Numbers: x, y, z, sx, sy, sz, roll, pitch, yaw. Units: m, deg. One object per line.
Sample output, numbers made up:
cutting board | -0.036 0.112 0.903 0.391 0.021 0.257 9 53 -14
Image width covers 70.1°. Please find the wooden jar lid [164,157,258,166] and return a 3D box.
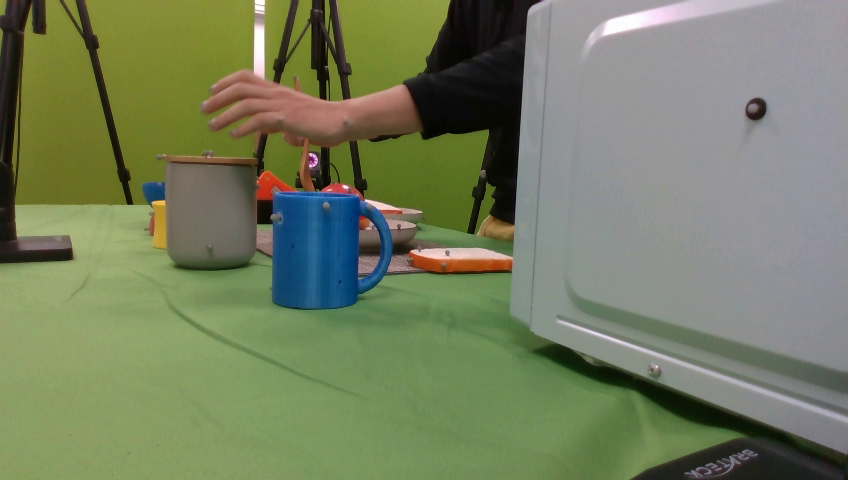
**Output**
wooden jar lid | -0.261 -0.093 0.746 0.108 0.020 0.108 0 9 0

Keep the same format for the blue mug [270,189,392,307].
blue mug | -0.089 0.005 0.588 0.117 0.106 0.082 1 7 -10

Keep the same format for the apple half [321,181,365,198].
apple half | -0.128 -0.077 0.954 0.081 0.033 0.081 7 14 -1

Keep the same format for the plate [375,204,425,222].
plate | -0.102 -0.053 1.299 0.209 0.038 0.209 2 8 0

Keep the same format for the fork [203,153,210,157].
fork | -0.480 -0.136 1.412 0.028 0.018 0.207 0 -34 -1

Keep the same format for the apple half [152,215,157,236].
apple half | -0.415 -0.034 1.017 0.081 0.053 0.074 1 10 -9

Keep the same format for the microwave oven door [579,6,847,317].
microwave oven door | 0.294 -0.067 0.570 0.358 0.243 0.039 -3 9 -31

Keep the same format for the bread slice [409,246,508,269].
bread slice | 0.048 0.021 0.816 0.132 0.019 0.104 -1 7 -24

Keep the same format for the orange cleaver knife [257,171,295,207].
orange cleaver knife | -0.283 -0.086 1.343 0.212 0.077 0.012 24 -16 -41

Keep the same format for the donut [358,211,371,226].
donut | -0.132 -0.042 0.959 0.099 0.048 0.099 2 7 0

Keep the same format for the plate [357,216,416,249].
plate | -0.116 -0.014 0.967 0.208 0.039 0.207 2 7 0

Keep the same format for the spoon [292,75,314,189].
spoon | -0.193 -0.168 0.972 0.021 0.193 0.041 -3 3 9

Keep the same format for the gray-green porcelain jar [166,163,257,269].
gray-green porcelain jar | -0.263 -0.031 0.754 0.106 0.126 0.106 2 7 0

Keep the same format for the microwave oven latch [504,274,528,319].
microwave oven latch | 0.100 0.041 0.470 0.079 0.029 0.030 -1 7 -26

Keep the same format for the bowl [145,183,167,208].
bowl | -0.459 -0.069 1.175 0.151 0.077 0.151 3 7 0

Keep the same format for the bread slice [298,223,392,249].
bread slice | -0.119 -0.009 0.971 0.106 0.018 0.135 12 15 39

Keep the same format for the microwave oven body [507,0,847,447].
microwave oven body | 0.331 -0.042 0.425 0.444 0.260 0.324 -2 8 -31

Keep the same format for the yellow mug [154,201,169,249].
yellow mug | -0.337 -0.023 0.899 0.130 0.064 0.100 8 9 35
